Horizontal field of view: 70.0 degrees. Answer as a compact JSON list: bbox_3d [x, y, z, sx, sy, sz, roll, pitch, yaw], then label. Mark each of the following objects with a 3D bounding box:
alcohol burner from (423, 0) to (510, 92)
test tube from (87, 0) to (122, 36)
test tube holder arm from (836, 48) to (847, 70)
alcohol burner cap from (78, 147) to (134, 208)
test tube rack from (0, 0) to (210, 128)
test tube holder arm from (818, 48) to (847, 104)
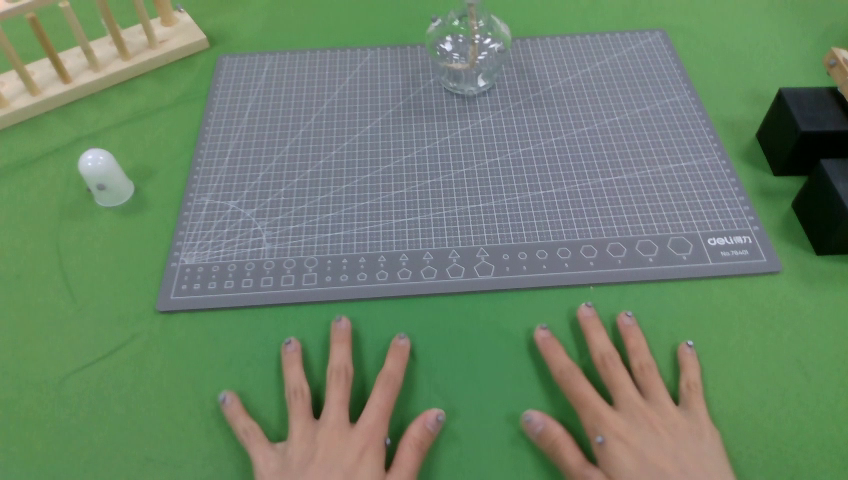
[{"bbox_3d":[0.038,-0.191,0.532,0.078,0.120,0.077,0,54,0],"label":"alcohol burner"},{"bbox_3d":[-0.318,-0.254,0.547,0.017,0.152,0.017,-6,47,7],"label":"test tube"},{"bbox_3d":[0.339,-0.081,0.443,0.013,0.015,0.176,-3,54,-3],"label":"test tube holder arm"},{"bbox_3d":[-0.259,-0.053,0.488,0.034,0.048,0.033,-1,52,1],"label":"alcohol burner cap"},{"bbox_3d":[-0.338,-0.188,0.564,0.242,0.086,0.066,-29,57,-19],"label":"test tube rack"},{"bbox_3d":[0.330,-0.117,0.468,0.010,0.015,0.087,-2,54,-2],"label":"test tube holder arm"}]
